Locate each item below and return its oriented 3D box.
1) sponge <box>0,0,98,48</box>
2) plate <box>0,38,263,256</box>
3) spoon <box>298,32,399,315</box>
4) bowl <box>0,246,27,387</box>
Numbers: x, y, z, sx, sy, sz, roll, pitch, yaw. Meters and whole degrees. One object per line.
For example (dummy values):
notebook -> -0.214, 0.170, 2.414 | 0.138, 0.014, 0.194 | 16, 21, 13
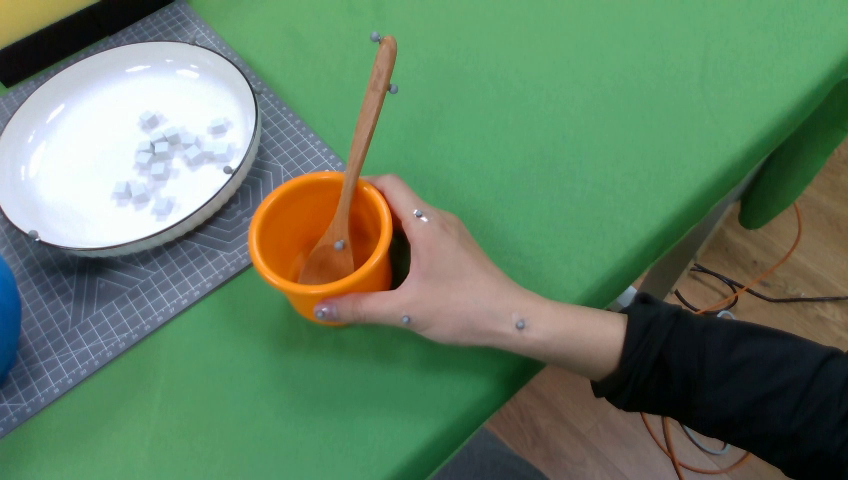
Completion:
sponge -> -0.336, -0.255, 0.527 | 0.207, 0.061, 0.117 | -36, 65, -16
plate -> -0.231, -0.076, 0.489 | 0.209, 0.038, 0.207 | -1, 62, 2
spoon -> -0.046, -0.038, 0.399 | 0.041, 0.194, 0.021 | 22, 20, 13
bowl -> -0.324, 0.065, 0.394 | 0.151, 0.077, 0.150 | -1, 62, 3
